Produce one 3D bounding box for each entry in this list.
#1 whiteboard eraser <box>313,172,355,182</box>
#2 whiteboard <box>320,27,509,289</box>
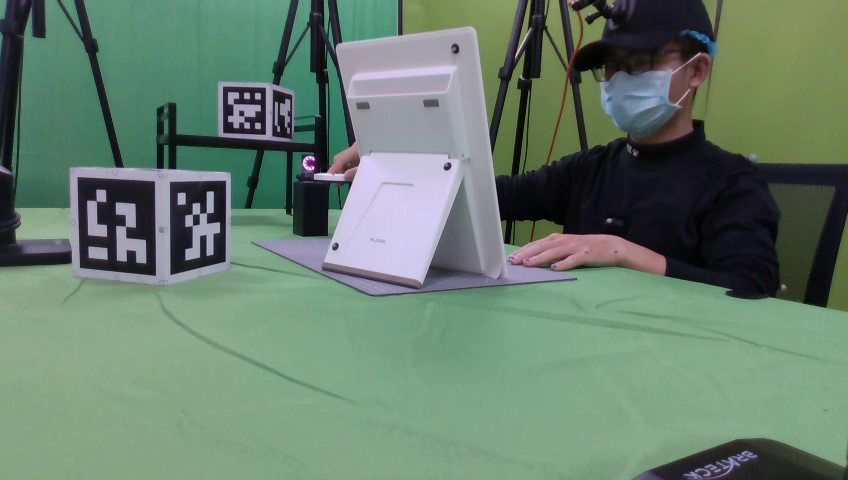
[{"bbox_3d":[-0.163,-0.121,1.163,0.102,0.019,0.041,-1,7,-27],"label":"whiteboard eraser"},{"bbox_3d":[-0.045,-0.076,0.721,0.216,0.305,0.144,9,29,39],"label":"whiteboard"}]
